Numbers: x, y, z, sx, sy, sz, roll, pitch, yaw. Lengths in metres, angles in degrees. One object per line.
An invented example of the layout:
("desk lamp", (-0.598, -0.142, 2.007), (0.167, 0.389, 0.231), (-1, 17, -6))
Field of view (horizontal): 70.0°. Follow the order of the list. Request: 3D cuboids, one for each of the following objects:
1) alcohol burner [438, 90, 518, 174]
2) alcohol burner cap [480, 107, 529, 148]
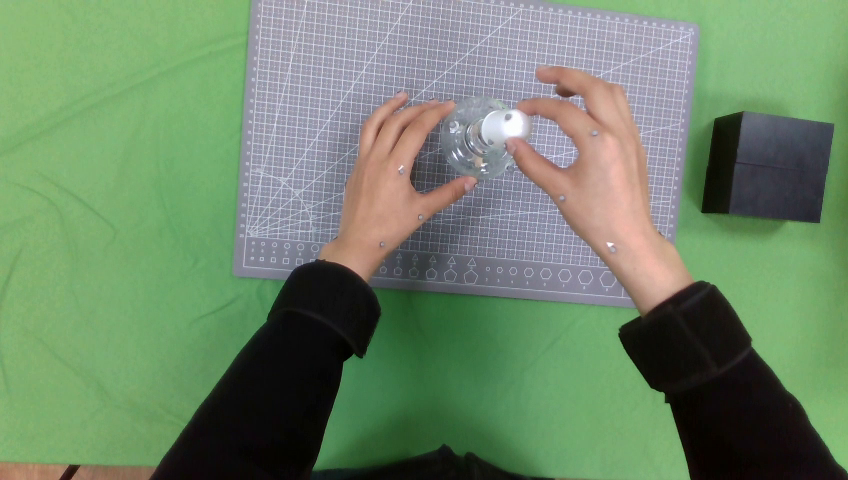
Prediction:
("alcohol burner", (0.054, -0.100, 0.555), (0.078, 0.118, 0.078), (-1, 95, -8))
("alcohol burner cap", (0.068, -0.093, 0.494), (0.034, 0.047, 0.034), (-1, 96, -11))
